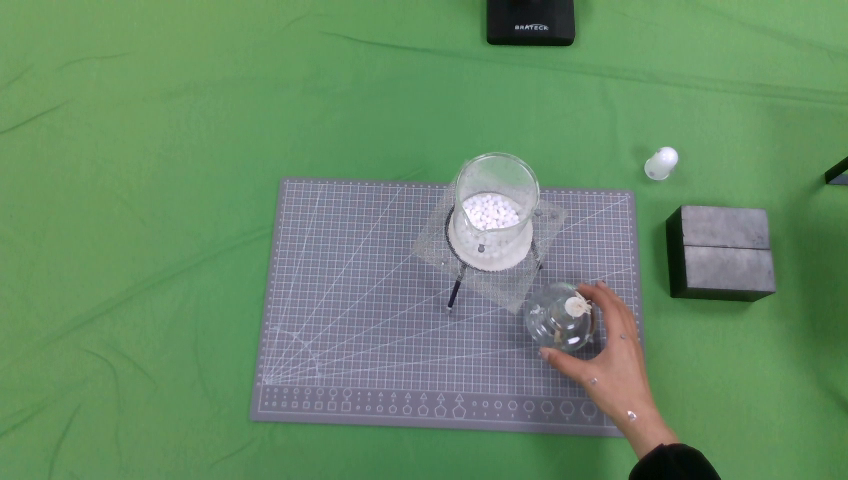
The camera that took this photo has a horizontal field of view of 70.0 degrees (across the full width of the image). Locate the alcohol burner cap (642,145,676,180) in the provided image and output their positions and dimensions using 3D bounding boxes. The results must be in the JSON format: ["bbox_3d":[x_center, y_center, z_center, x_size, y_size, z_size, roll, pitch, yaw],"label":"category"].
[{"bbox_3d":[0.297,-0.099,0.760,0.034,0.048,0.033,0,71,2],"label":"alcohol burner cap"}]

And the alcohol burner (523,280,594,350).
[{"bbox_3d":[0.148,0.077,0.650,0.078,0.119,0.077,0,73,-1],"label":"alcohol burner"}]

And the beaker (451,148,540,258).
[{"bbox_3d":[0.061,-0.027,0.566,0.074,0.101,0.083,26,74,8],"label":"beaker"}]

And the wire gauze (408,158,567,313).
[{"bbox_3d":[0.065,-0.009,0.611,0.125,0.011,0.121,30,76,6],"label":"wire gauze"}]

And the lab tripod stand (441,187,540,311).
[{"bbox_3d":[0.068,0.005,0.675,0.148,0.132,0.147,0,71,-1],"label":"lab tripod stand"}]
